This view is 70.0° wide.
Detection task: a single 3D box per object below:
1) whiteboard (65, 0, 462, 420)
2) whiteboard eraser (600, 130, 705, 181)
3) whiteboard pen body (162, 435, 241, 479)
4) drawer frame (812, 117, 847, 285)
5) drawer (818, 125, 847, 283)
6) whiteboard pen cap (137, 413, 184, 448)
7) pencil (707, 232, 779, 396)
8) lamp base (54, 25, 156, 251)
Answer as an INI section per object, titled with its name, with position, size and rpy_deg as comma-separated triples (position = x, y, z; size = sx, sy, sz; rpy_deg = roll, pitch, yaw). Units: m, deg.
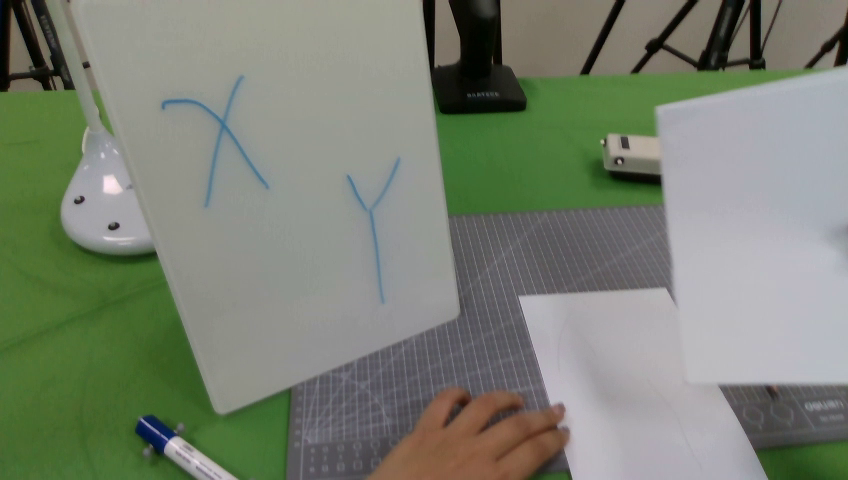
[whiteboard]
position = -0.112, -0.055, 0.491
size = 0.218, 0.308, 0.142
rpy_deg = -19, 27, -21
[whiteboard eraser]
position = 0.267, -0.099, 0.712
size = 0.112, 0.042, 0.055
rpy_deg = 7, 44, 5
[whiteboard pen body]
position = -0.143, 0.163, 0.418
size = 0.140, 0.017, 0.017
rpy_deg = 23, 46, 23
[drawer frame]
position = 0.527, -0.026, 0.611
size = 0.201, 0.083, 0.212
rpy_deg = 12, 42, 11
[drawer]
position = 0.526, -0.023, 0.609
size = 0.194, 0.074, 0.210
rpy_deg = 13, 43, 13
[whiteboard pen cap]
position = -0.192, 0.140, 0.441
size = 0.033, 0.018, 0.018
rpy_deg = 23, 46, 25
[pencil]
position = 0.290, 0.060, 0.555
size = 0.012, 0.012, 0.192
rpy_deg = 4, 43, 2
[lamp base]
position = -0.300, -0.106, 0.589
size = 0.178, 0.182, 0.160
rpy_deg = 24, 46, 26
